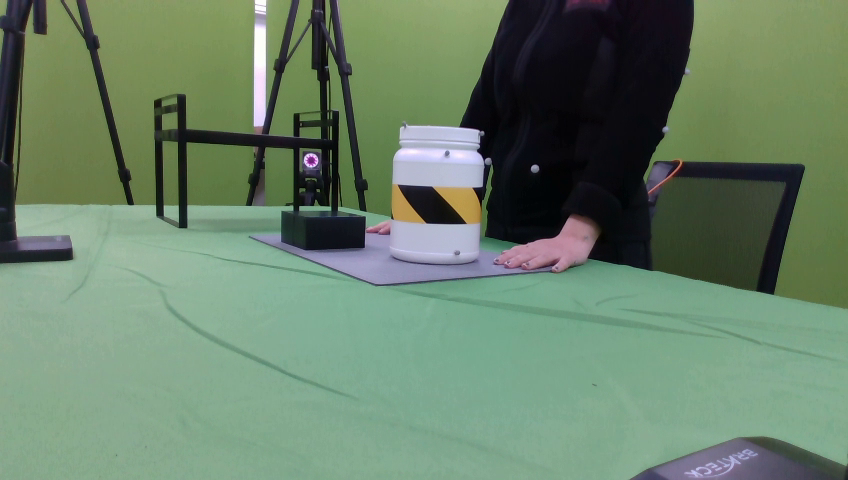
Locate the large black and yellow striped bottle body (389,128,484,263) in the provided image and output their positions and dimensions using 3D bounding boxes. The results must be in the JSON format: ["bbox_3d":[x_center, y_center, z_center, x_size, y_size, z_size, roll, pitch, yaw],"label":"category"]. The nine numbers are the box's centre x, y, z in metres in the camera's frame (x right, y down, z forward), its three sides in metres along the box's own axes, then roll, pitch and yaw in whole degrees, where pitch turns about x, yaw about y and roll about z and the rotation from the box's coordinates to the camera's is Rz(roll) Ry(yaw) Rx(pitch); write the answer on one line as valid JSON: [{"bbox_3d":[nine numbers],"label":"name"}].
[{"bbox_3d":[0.018,-0.067,0.859,0.131,0.184,0.130,2,7,0],"label":"large black and yellow striped bottle body"}]

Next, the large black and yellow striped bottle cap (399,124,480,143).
[{"bbox_3d":[0.022,-0.149,0.850,0.115,0.019,0.115,3,8,0],"label":"large black and yellow striped bottle cap"}]
